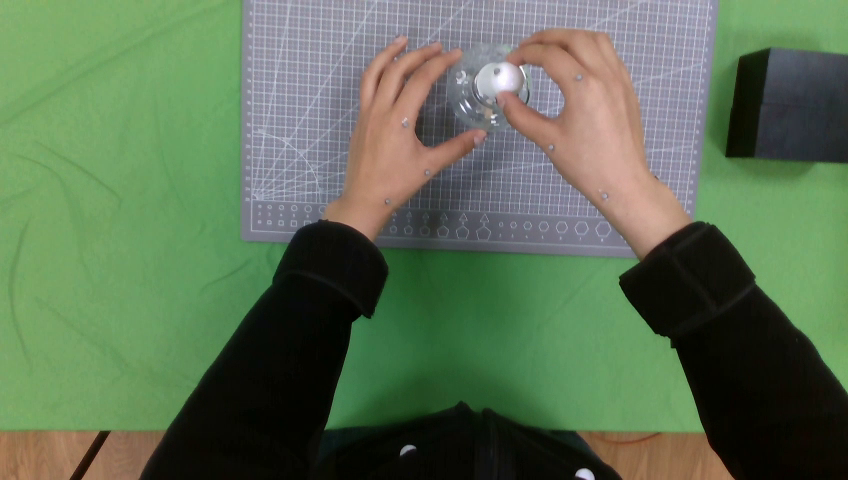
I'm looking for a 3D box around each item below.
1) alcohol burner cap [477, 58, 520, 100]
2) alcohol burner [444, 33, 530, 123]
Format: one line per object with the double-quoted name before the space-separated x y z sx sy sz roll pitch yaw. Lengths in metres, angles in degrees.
"alcohol burner cap" 0.061 -0.131 0.490 0.034 0.047 0.034 0 100 -2
"alcohol burner" 0.058 -0.141 0.526 0.078 0.118 0.078 -1 100 -6
